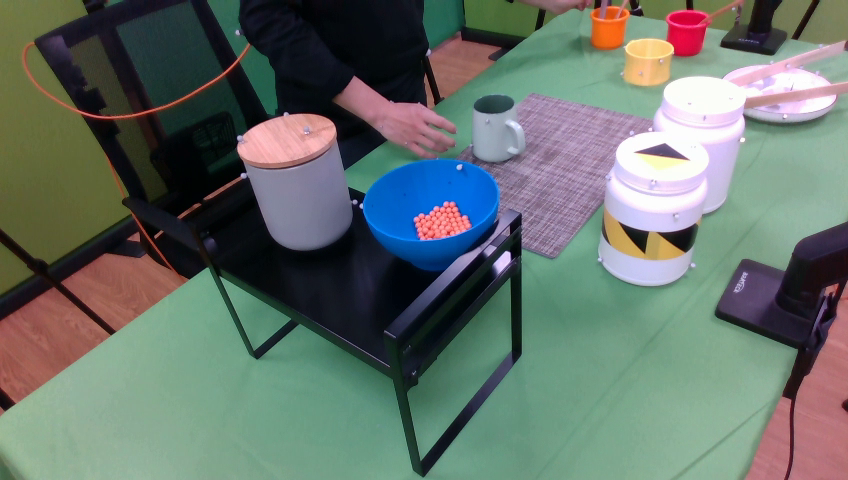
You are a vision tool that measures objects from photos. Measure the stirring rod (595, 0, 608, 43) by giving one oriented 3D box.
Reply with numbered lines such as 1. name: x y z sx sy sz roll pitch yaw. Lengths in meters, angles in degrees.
1. stirring rod: 0.433 -0.563 1.449 0.014 0.176 0.006 11 12 15

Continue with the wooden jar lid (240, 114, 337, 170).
1. wooden jar lid: -0.149 -0.106 0.674 0.108 0.021 0.108 -6 38 5

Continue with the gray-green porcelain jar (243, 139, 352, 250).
1. gray-green porcelain jar: -0.144 -0.060 0.714 0.106 0.127 0.105 -4 41 4

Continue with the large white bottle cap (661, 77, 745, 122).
1. large white bottle cap: 0.415 -0.210 0.904 0.115 0.018 0.114 -4 40 4

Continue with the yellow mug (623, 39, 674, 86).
1. yellow mug: 0.484 -0.398 1.334 0.100 0.064 0.130 -18 41 -11

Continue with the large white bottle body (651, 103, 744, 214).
1. large white bottle body: 0.426 -0.146 0.958 0.130 0.185 0.130 -4 40 4

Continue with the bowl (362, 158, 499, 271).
1. bowl: 0.011 -0.019 0.679 0.151 0.077 0.150 -5 41 5

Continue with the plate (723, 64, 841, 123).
1. plate: 0.695 -0.282 1.189 0.207 0.039 0.206 -4 40 4

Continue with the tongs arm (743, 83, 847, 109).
1. tongs arm: 0.738 -0.281 1.134 0.388 0.028 0.028 -9 47 -5

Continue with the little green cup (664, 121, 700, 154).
1. little green cup: 0.473 -0.188 1.113 0.061 0.039 0.061 -5 40 5

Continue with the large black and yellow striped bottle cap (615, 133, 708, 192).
1. large black and yellow striped bottle cap: 0.312 -0.105 0.798 0.115 0.019 0.114 -5 41 5

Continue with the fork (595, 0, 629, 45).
1. fork: 0.480 -0.557 1.452 0.207 0.019 0.028 -58 41 10

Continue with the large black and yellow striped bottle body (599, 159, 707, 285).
1. large black and yellow striped bottle body: 0.320 -0.042 0.854 0.131 0.185 0.130 -4 41 4

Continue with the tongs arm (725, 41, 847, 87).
1. tongs arm: 0.712 -0.332 1.194 0.386 0.026 0.050 -18 45 -16

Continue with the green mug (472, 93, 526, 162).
1. green mug: 0.144 -0.202 1.122 0.093 0.105 0.124 -29 45 -23

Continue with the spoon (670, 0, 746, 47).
1. spoon: 0.629 -0.484 1.350 0.022 0.193 0.042 48 54 -7
